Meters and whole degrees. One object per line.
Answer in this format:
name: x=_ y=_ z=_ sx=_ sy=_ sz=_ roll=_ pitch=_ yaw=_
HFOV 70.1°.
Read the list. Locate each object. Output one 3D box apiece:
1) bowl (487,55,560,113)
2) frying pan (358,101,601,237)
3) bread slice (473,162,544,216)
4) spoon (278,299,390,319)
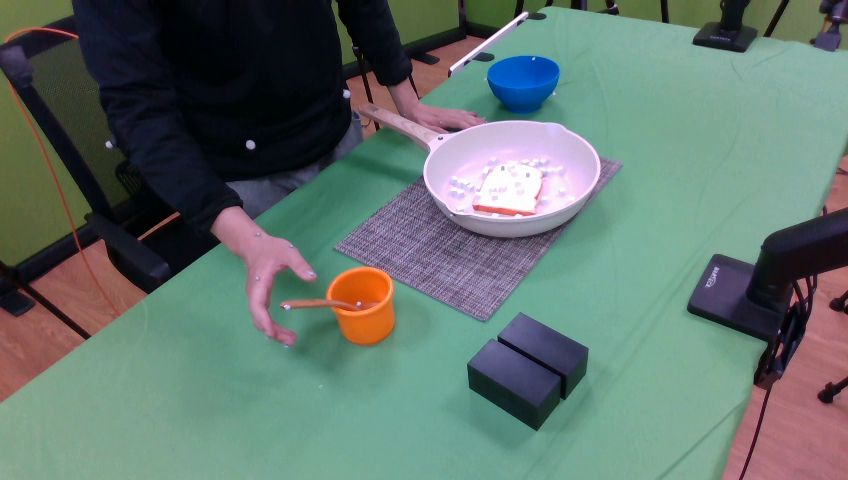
bowl: x=0.208 y=-0.319 z=1.266 sx=0.151 sy=0.077 sz=0.150 roll=-4 pitch=41 yaw=4
frying pan: x=0.067 y=-0.153 z=1.067 sx=0.484 sy=0.103 sz=0.308 roll=32 pitch=52 yaw=26
bread slice: x=0.150 y=-0.089 z=1.041 sx=0.106 sy=0.018 sz=0.134 roll=7 pitch=45 yaw=16
spoon: x=-0.113 y=0.087 z=0.787 sx=0.041 sy=0.021 sz=0.195 roll=25 pitch=5 yaw=37
